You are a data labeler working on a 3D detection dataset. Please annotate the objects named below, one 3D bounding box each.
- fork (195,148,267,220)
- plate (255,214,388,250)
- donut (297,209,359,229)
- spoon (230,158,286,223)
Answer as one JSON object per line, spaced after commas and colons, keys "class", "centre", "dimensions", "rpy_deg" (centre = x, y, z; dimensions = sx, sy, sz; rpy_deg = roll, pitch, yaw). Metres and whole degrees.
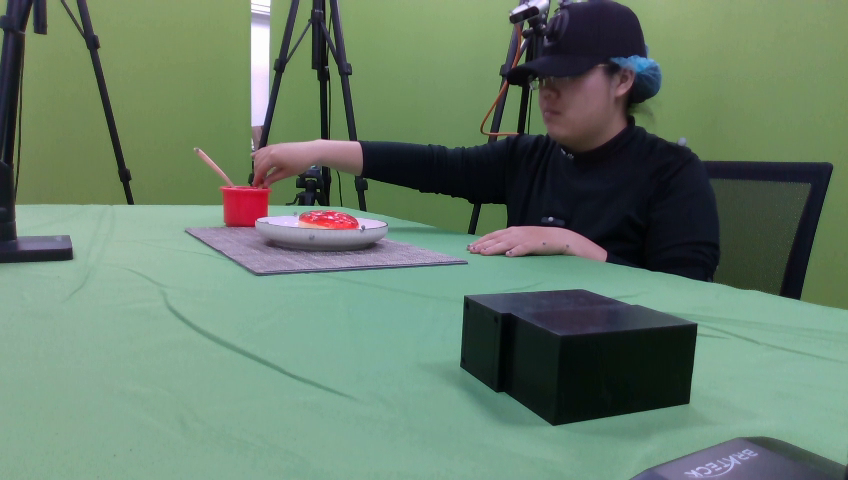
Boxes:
{"class": "fork", "centre": [-0.385, -0.110, 1.199], "dimensions": [0.028, 0.207, 0.018], "rpy_deg": [-39, -7, -35]}
{"class": "plate", "centre": [-0.161, -0.013, 0.961], "dimensions": [0.209, 0.038, 0.209], "rpy_deg": [2, 7, 0]}
{"class": "donut", "centre": [-0.151, -0.023, 0.955], "dimensions": [0.099, 0.048, 0.099], "rpy_deg": [6, 7, 0]}
{"class": "spoon", "centre": [-0.325, -0.101, 1.207], "dimensions": [0.041, 0.022, 0.194], "rpy_deg": [14, 54, 18]}
